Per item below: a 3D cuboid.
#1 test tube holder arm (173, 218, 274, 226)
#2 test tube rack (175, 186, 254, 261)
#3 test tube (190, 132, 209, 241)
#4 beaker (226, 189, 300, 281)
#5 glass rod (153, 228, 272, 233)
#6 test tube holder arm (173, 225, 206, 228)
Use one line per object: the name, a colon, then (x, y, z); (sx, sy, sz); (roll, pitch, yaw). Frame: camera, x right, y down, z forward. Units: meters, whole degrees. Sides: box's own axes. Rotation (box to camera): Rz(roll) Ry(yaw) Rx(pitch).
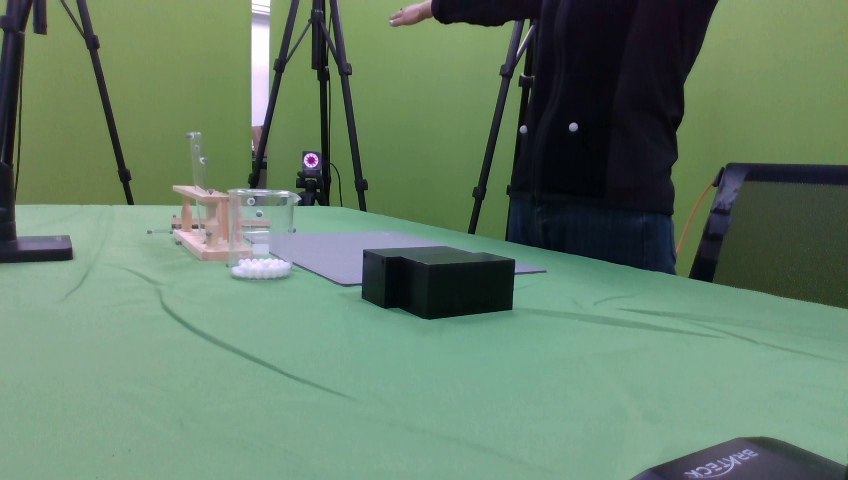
test tube holder arm: (-0.371, -0.033, 1.128); (0.179, 0.015, 0.013); (-1, -21, -25)
test tube rack: (-0.314, -0.030, 0.889); (0.067, 0.085, 0.241); (-2, 8, -30)
test tube: (-0.308, -0.074, 0.840); (0.017, 0.150, 0.017); (-4, 6, 1)
beaker: (-0.184, -0.007, 0.694); (0.084, 0.100, 0.073); (-1, 8, -29)
glass rod: (-0.368, -0.017, 1.065); (0.201, 0.008, 0.008); (-2, 8, -27)
test tube holder arm: (-0.414, -0.030, 1.113); (0.088, 0.015, 0.010); (-1, -21, -25)
